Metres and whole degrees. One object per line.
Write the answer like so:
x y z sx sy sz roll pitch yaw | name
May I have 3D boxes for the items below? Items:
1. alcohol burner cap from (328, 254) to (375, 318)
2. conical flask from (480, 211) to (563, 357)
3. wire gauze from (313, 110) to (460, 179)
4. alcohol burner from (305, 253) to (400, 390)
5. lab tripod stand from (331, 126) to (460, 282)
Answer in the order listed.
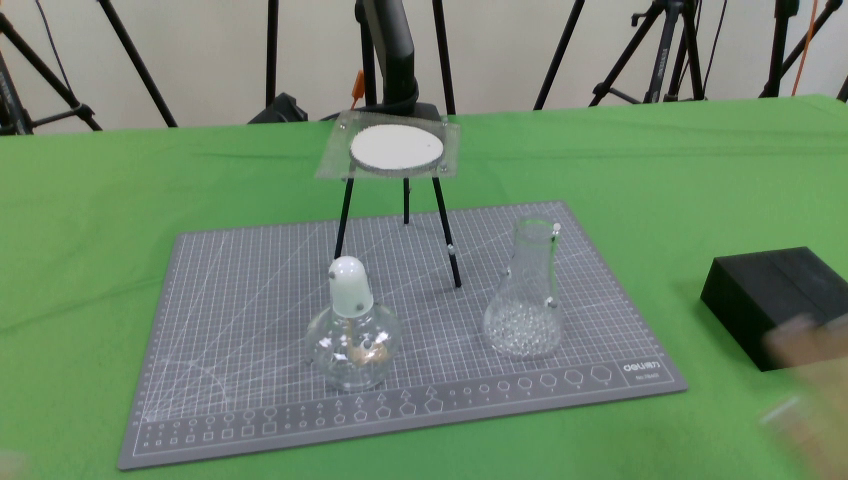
-0.057 0.033 0.461 0.034 0.048 0.033 -4 40 4 | alcohol burner cap
0.089 0.035 0.516 0.075 0.123 0.074 1 37 0 | conical flask
-0.029 -0.088 0.558 0.121 0.011 0.124 4 37 2 | wire gauze
-0.058 0.061 0.484 0.078 0.120 0.077 0 35 0 | alcohol burner
-0.023 -0.034 0.598 0.148 0.132 0.147 2 36 -1 | lab tripod stand
